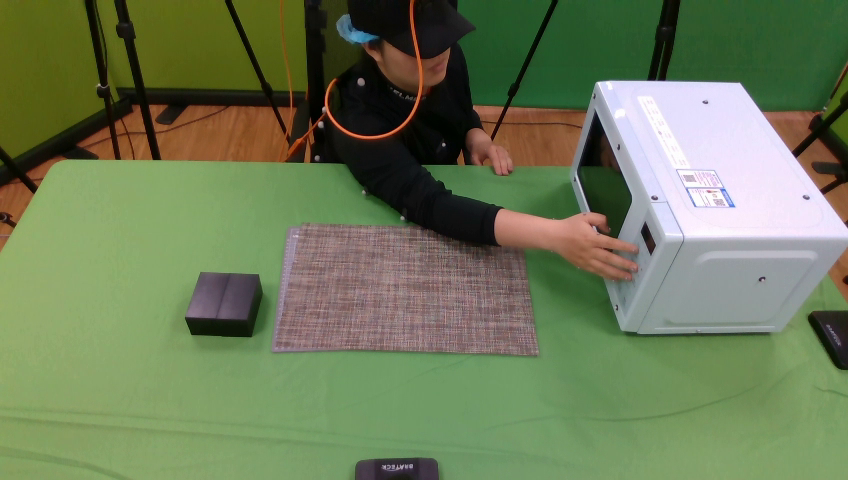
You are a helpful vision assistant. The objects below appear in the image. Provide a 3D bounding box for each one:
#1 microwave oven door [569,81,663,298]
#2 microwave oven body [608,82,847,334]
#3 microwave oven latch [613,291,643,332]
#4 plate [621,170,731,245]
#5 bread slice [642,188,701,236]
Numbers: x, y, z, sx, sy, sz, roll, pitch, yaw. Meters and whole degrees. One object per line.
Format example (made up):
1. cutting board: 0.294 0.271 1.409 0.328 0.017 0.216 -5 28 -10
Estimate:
1. microwave oven door: 0.353 -0.103 1.147 0.039 0.245 0.353 0 46 -4
2. microwave oven body: 0.501 -0.069 1.132 0.326 0.261 0.438 -1 45 -4
3. microwave oven latch: 0.358 0.125 1.068 0.030 0.029 0.078 1 45 -2
4. plate: 0.490 -0.061 1.193 0.209 0.038 0.208 2 45 -2
5. bread slice: 0.494 -0.057 1.197 0.105 0.019 0.131 6 43 4
